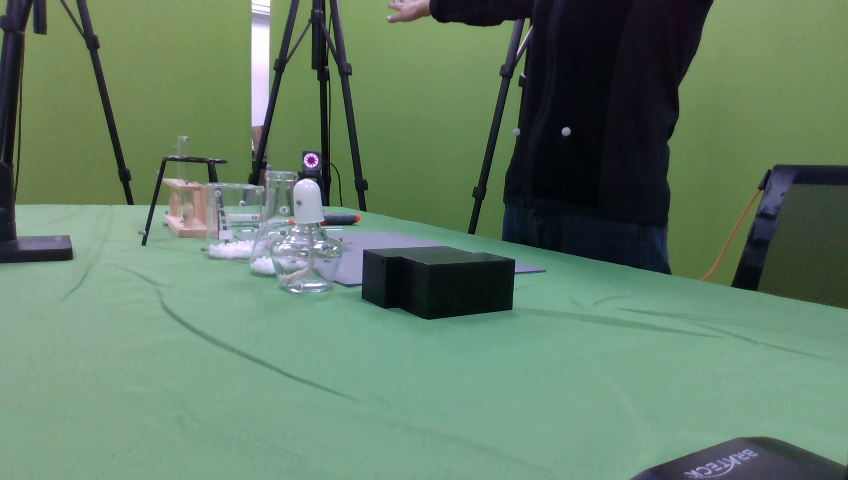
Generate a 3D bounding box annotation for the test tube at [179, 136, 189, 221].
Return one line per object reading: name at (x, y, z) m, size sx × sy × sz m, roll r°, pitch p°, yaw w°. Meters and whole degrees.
test tube at (-0.425, -0.108, 1.070) m, size 0.017 × 0.150 × 0.017 m, roll 4°, pitch 9°, yaw 0°

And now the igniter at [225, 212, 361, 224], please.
igniter at (-0.262, -0.044, 1.240) m, size 0.278 × 0.025 × 0.057 m, roll -2°, pitch -1°, yaw -31°

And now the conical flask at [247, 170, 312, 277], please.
conical flask at (-0.170, -0.021, 0.717) m, size 0.075 × 0.122 × 0.075 m, roll 2°, pitch 7°, yaw 0°

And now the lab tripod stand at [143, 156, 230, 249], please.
lab tripod stand at (-0.338, -0.058, 0.908) m, size 0.148 × 0.131 × 0.148 m, roll 4°, pitch 7°, yaw 0°

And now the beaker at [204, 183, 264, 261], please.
beaker at (-0.254, -0.026, 0.817) m, size 0.073 × 0.100 × 0.084 m, roll 9°, pitch 9°, yaw 39°

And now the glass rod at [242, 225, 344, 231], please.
glass rod at (-0.246, -0.023, 1.154) m, size 0.201 × 0.008 × 0.008 m, roll -2°, pitch 8°, yaw -31°

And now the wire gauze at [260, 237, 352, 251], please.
wire gauze at (-0.184, 0.004, 0.938) m, size 0.122 × 0.011 × 0.124 m, roll -1°, pitch 5°, yaw -24°

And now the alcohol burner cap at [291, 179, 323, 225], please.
alcohol burner cap at (-0.124, -0.040, 0.632) m, size 0.034 × 0.048 × 0.034 m, roll -3°, pitch 10°, yaw 1°

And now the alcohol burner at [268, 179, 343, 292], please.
alcohol burner at (-0.124, -0.005, 0.637) m, size 0.078 × 0.119 × 0.078 m, roll 4°, pitch 8°, yaw 0°

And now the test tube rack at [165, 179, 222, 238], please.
test tube rack at (-0.423, -0.062, 1.098) m, size 0.067 × 0.085 × 0.241 m, roll -2°, pitch 9°, yaw -28°
